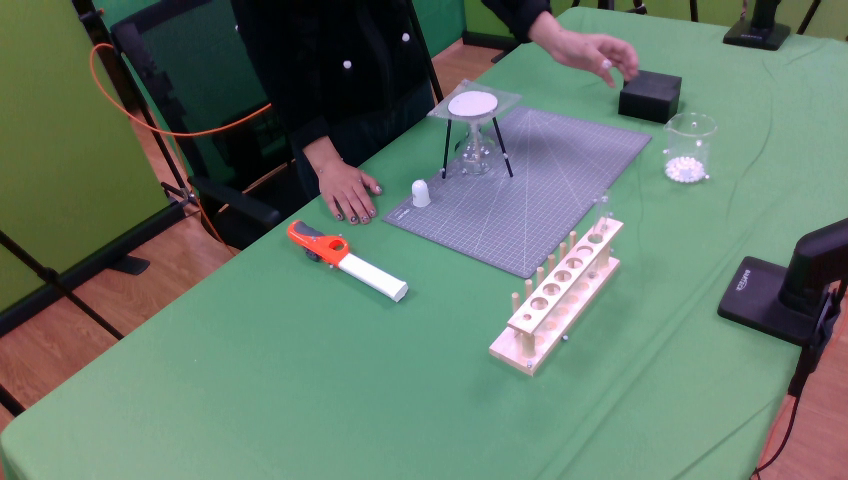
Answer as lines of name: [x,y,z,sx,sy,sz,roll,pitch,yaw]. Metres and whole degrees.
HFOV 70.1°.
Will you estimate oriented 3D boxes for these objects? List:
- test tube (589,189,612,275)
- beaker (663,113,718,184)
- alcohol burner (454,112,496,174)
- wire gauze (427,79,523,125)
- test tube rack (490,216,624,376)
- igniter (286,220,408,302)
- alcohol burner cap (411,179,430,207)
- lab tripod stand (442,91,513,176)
test tube: [0.238,-0.007,0.818,0.017,0.151,0.017,-3,43,4]
beaker: [0.442,-0.151,1.018,0.084,0.101,0.074,-1,40,11]
alcohol burner: [0.092,-0.181,1.102,0.078,0.119,0.077,-5,42,5]
wire gauze: [0.088,-0.239,1.050,0.120,0.011,0.125,22,50,30]
test tube rack: [0.184,0.064,0.822,0.066,0.085,0.243,24,50,33]
igniter: [-0.134,0.028,0.969,0.274,0.025,0.057,26,61,35]
alcohol burner cap: [-0.008,-0.085,1.063,0.034,0.048,0.033,-4,40,4]
lab tripod stand: [0.096,-0.190,1.096,0.148,0.132,0.147,-4,40,4]
